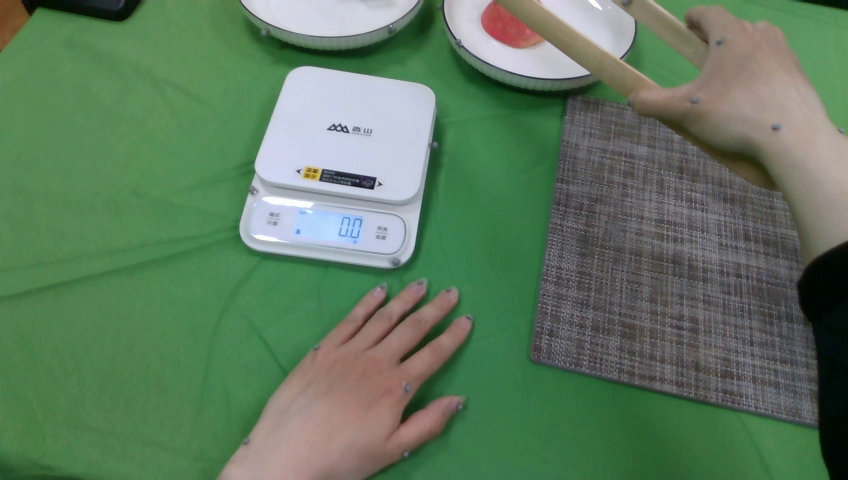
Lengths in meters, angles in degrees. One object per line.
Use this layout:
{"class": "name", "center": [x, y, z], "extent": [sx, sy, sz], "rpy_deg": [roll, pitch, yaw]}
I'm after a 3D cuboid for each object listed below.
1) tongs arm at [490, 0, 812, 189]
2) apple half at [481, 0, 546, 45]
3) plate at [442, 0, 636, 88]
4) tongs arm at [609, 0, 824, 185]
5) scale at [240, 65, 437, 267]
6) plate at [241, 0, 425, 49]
{"class": "tongs arm", "center": [0.130, -0.162, 0.495], "extent": [0.028, 0.028, 0.384], "rpy_deg": [-32, 63, -27]}
{"class": "apple half", "center": [0.104, -0.249, 0.660], "extent": [0.081, 0.033, 0.080], "rpy_deg": [1, 55, -1]}
{"class": "plate", "center": [0.122, -0.236, 0.659], "extent": [0.209, 0.038, 0.207], "rpy_deg": [2, 58, -3]}
{"class": "tongs arm", "center": [0.174, -0.187, 0.513], "extent": [0.051, 0.027, 0.381], "rpy_deg": [-29, 62, -21]}
{"class": "scale", "center": [-0.071, -0.074, 0.548], "extent": [0.148, 0.032, 0.199], "rpy_deg": [8, 58, 1]}
{"class": "plate", "center": [-0.098, -0.280, 0.672], "extent": [0.208, 0.039, 0.205], "rpy_deg": [2, 58, -2]}
